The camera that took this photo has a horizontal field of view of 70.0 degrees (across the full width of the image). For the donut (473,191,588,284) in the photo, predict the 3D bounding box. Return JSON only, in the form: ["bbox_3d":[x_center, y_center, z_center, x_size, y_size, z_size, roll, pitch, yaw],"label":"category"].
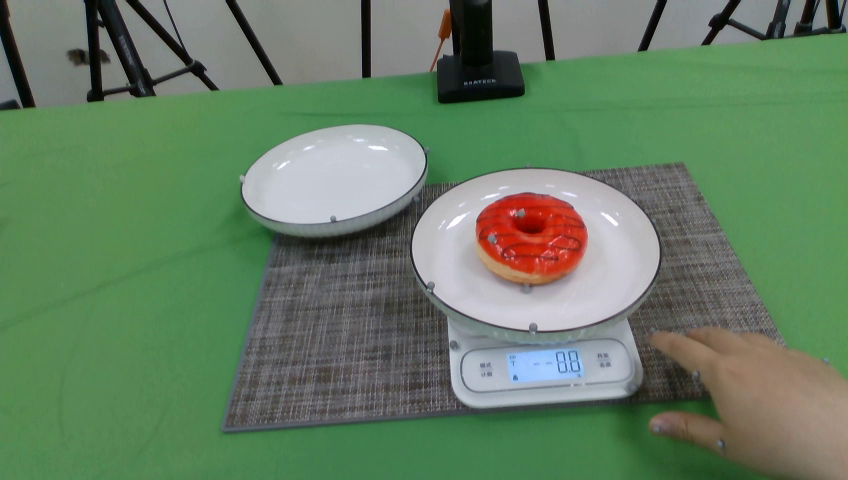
[{"bbox_3d":[0.091,-0.002,0.520,0.099,0.049,0.098,-2,42,2],"label":"donut"}]

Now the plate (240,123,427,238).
[{"bbox_3d":[-0.099,-0.066,0.685,0.209,0.038,0.207,-5,39,4],"label":"plate"}]

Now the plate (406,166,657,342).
[{"bbox_3d":[0.089,0.010,0.524,0.207,0.039,0.205,-3,42,3],"label":"plate"}]

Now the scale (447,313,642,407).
[{"bbox_3d":[0.093,0.050,0.528,0.148,0.032,0.199,-5,42,3],"label":"scale"}]
